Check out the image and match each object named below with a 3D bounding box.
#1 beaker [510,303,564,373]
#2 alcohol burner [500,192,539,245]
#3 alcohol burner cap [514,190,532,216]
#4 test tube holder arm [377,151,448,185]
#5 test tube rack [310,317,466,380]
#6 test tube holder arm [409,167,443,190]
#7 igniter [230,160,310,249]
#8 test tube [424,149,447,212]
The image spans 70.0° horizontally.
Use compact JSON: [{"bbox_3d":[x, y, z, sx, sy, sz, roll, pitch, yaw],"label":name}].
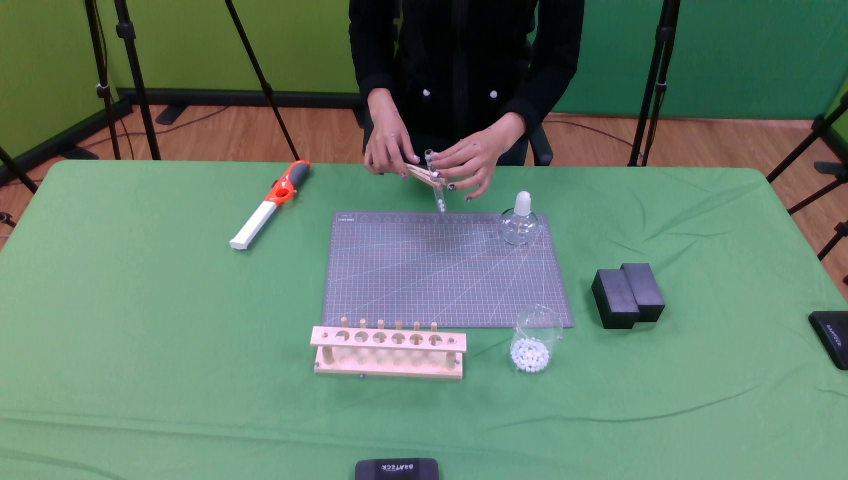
[{"bbox_3d":[0.182,0.164,1.000,0.074,0.101,0.083,2,46,-1],"label":"beaker"},{"bbox_3d":[0.190,-0.048,1.190,0.078,0.120,0.077,1,47,-1],"label":"alcohol burner"},{"bbox_3d":[0.192,-0.074,1.166,0.034,0.048,0.033,1,41,-1],"label":"alcohol burner cap"},{"bbox_3d":[-0.024,-0.135,1.129,0.177,0.015,0.013,27,59,37],"label":"test tube holder arm"},{"bbox_3d":[-0.056,0.171,0.986,0.242,0.085,0.066,3,45,-1],"label":"test tube rack"},{"bbox_3d":[0.002,-0.114,1.100,0.010,0.015,0.087,-37,46,-18],"label":"test tube holder arm"},{"bbox_3d":[-0.311,-0.081,1.250,0.057,0.025,0.275,9,45,18],"label":"igniter"},{"bbox_3d":[0.022,-0.104,1.090,0.017,0.151,0.017,-7,49,9],"label":"test tube"}]
